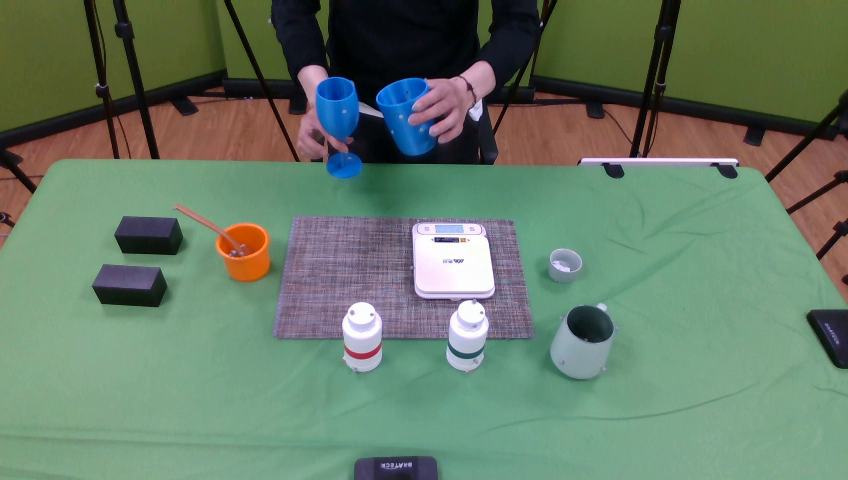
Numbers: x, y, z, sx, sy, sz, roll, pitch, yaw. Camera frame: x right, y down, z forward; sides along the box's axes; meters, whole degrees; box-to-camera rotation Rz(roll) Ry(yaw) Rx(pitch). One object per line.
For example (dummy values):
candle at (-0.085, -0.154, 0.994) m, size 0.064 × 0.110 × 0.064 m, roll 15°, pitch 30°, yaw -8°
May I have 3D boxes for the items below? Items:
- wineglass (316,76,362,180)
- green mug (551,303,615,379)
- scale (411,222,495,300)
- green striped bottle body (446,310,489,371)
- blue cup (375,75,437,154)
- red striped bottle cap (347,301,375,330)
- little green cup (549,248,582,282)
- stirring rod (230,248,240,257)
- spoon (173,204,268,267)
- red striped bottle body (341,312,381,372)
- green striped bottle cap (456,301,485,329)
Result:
wineglass at (-0.142, -0.189, 1.034) m, size 0.074 × 0.173 × 0.073 m, roll 1°, pitch 52°, yaw -1°
green mug at (0.271, 0.158, 1.007) m, size 0.092 × 0.105 × 0.125 m, roll 27°, pitch 50°, yaw 21°
scale at (0.052, 0.031, 1.158) m, size 0.149 × 0.032 × 0.199 m, roll 1°, pitch 46°, yaw -4°
green striped bottle body at (0.070, 0.155, 0.984) m, size 0.063 × 0.120 × 0.063 m, roll 2°, pitch 46°, yaw -2°
blue cup at (-0.021, -0.194, 0.958) m, size 0.092 × 0.101 × 0.092 m, roll -12°, pitch 38°, yaw 10°
red striped bottle cap at (-0.097, 0.116, 0.934) m, size 0.044 × 0.018 × 0.044 m, roll 2°, pitch 49°, yaw -3°
little green cup at (0.268, 0.050, 1.156) m, size 0.061 × 0.039 × 0.061 m, roll 2°, pitch 46°, yaw -1°
stirring rod at (-0.330, 0.023, 1.059) m, size 0.014 × 0.176 × 0.006 m, roll 33°, pitch 79°, yaw -12°
spoon at (-0.363, -0.009, 1.089) m, size 0.021 × 0.195 × 0.041 m, roll -35°, pitch 31°, yaw 23°
red striped bottle body at (-0.100, 0.154, 0.972) m, size 0.063 × 0.120 × 0.062 m, roll 2°, pitch 45°, yaw -2°
green striped bottle cap at (0.073, 0.116, 0.943) m, size 0.044 × 0.020 × 0.044 m, roll 3°, pitch 47°, yaw -3°
